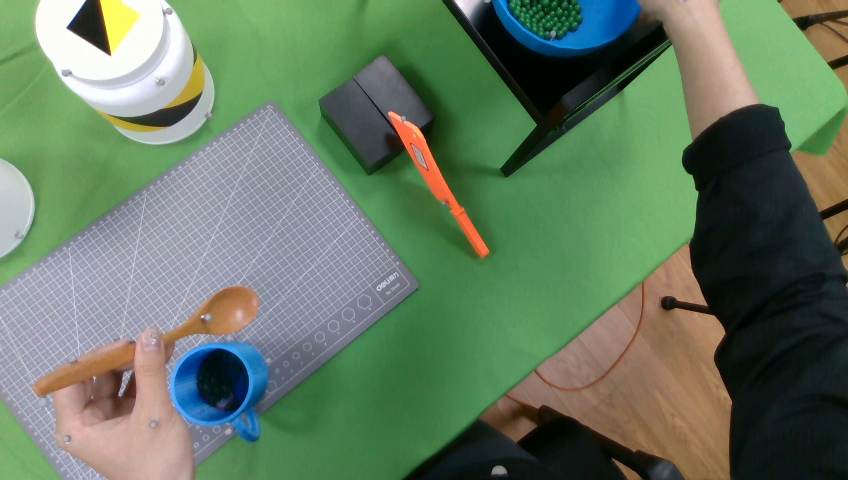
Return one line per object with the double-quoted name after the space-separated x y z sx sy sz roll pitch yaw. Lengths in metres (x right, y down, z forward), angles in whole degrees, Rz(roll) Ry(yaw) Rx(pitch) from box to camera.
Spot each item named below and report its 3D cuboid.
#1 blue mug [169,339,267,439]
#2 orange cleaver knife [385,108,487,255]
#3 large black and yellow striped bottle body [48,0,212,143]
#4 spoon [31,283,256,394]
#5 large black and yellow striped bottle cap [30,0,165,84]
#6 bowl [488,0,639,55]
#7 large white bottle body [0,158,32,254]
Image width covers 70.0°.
-0.213 0.164 0.662 0.082 0.106 0.116 -30 87 -10 "blue mug"
0.016 -0.068 0.732 0.012 0.076 0.213 -40 120 -11 "orange cleaver knife"
-0.316 -0.192 0.656 0.131 0.184 0.130 1 82 -6 "large black and yellow striped bottle body"
-0.197 0.071 0.456 0.021 0.194 0.042 8 104 22 "spoon"
-0.308 -0.205 0.574 0.115 0.019 0.114 1 83 -9 "large black and yellow striped bottle cap"
0.125 -0.242 0.590 0.152 0.077 0.151 1 83 -7 "bowl"
-0.510 -0.049 0.613 0.131 0.185 0.130 1 82 -6 "large white bottle body"
